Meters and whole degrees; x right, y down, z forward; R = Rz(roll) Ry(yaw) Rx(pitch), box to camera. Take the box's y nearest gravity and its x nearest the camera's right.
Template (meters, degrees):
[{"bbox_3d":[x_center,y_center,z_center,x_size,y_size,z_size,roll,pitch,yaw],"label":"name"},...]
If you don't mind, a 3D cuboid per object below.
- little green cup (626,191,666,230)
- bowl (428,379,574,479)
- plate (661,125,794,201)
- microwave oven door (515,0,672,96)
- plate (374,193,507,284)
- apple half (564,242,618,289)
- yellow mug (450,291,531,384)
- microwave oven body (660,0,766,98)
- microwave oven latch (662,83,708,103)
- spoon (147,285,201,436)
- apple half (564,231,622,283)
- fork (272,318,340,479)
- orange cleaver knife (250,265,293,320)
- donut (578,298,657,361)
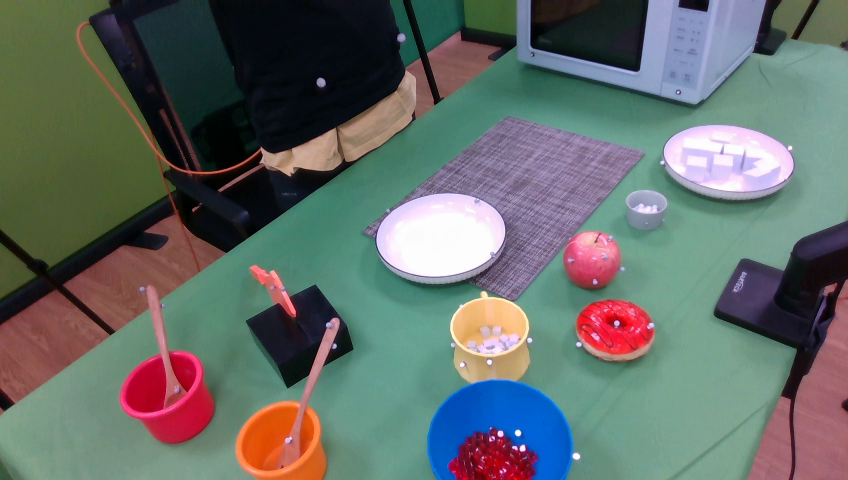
[{"bbox_3d":[0.352,-0.046,0.963,0.061,0.039,0.061,-4,40,4],"label":"little green cup"},{"bbox_3d":[0.082,0.233,0.644,0.151,0.077,0.150,-4,39,4],"label":"bowl"},{"bbox_3d":[0.513,-0.128,1.035,0.207,0.039,0.206,-4,40,4],"label":"plate"},{"bbox_3d":[0.343,-0.454,1.259,0.353,0.245,0.039,26,51,33],"label":"microwave oven door"},{"bbox_3d":[0.027,0.000,0.952,0.209,0.038,0.208,-4,40,4],"label":"plate"},{"bbox_3d":[0.229,0.044,0.848,0.081,0.081,0.033,16,41,26],"label":"apple half"},{"bbox_3d":[0.085,0.120,0.786,0.100,0.064,0.130,-7,39,1],"label":"yellow mug"},{"bbox_3d":[0.472,-0.513,1.317,0.438,0.261,0.327,26,51,34],"label":"microwave oven body"},{"bbox_3d":[0.518,-0.296,1.204,0.078,0.029,0.030,27,52,35],"label":"microwave oven latch"},{"bbox_3d":[-0.318,0.148,0.755,0.042,0.021,0.193,-15,86,-9],"label":"spoon"},{"bbox_3d":[0.248,0.021,0.874,0.080,0.075,0.053,13,40,28],"label":"apple half"},{"bbox_3d":[-0.131,0.186,0.676,0.028,0.019,0.207,18,90,28],"label":"fork"},{"bbox_3d":[-0.222,0.073,0.876,0.012,0.077,0.210,-23,12,-22],"label":"orange cleaver knife"},{"bbox_3d":[0.250,0.115,0.786,0.099,0.048,0.098,-5,37,4],"label":"donut"}]
